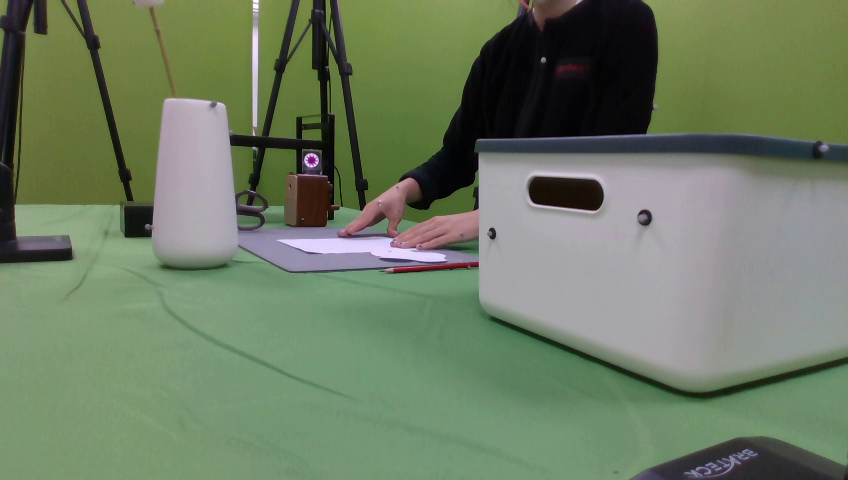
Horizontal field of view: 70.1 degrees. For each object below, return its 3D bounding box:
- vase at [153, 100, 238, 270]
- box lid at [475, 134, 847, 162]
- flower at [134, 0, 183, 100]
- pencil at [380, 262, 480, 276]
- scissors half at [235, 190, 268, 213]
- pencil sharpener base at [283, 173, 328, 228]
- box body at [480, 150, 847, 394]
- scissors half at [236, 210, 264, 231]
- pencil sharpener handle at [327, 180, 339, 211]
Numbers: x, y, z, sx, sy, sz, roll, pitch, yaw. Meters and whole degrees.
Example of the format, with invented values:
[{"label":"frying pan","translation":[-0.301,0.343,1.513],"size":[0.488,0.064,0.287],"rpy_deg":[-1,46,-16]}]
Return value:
[{"label":"vase","translation":[-0.278,-0.066,0.736],"size":[0.098,0.200,0.098],"rpy_deg":[2,9,0]},{"label":"box lid","translation":[0.256,-0.073,0.528],"size":[0.373,0.015,0.262],"rpy_deg":[-2,8,-31]},{"label":"flower","translation":[-0.282,-0.147,0.713],"size":[0.038,0.362,0.044],"rpy_deg":[-23,24,-31]},{"label":"pencil","translation":[0.030,0.037,0.794],"size":[0.195,0.012,0.012],"rpy_deg":[-3,9,-30]},{"label":"scissors half","translation":[-0.363,-0.070,1.060],"size":[0.176,0.040,0.013],"rpy_deg":[0,16,-23]},{"label":"pencil sharpener base","translation":[-0.239,-0.081,1.231],"size":[0.077,0.107,0.061],"rpy_deg":[-2,8,-36]},{"label":"box body","translation":[0.254,0.002,0.539],"size":[0.366,0.160,0.253],"rpy_deg":[-2,8,-31]},{"label":"scissors half","translation":[-0.369,-0.051,1.065],"size":[0.176,0.040,0.012],"rpy_deg":[19,13,-27]},{"label":"pencil sharpener handle","translation":[-0.194,-0.094,1.256],"size":[0.031,0.067,0.036],"rpy_deg":[-2,-5,-36]}]
